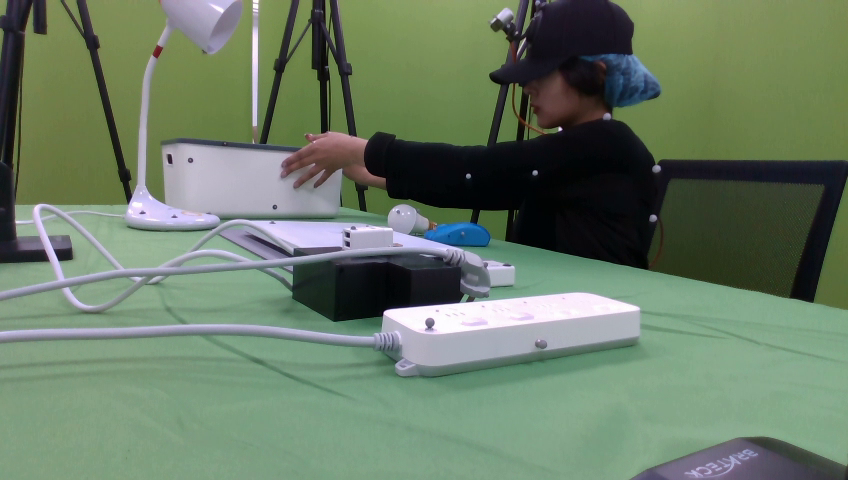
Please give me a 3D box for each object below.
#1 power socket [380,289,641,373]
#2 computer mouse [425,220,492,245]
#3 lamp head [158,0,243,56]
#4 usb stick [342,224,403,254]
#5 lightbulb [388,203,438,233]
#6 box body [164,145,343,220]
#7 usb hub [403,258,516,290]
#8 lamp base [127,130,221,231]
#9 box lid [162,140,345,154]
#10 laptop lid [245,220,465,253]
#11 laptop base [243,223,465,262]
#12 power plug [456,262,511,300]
[{"bbox_3d":[0.072,0.064,0.461,0.228,0.032,0.072,-2,8,-30],"label":"power socket"},{"bbox_3d":[0.060,-0.013,1.060,0.117,0.041,0.062,-2,10,-6],"label":"computer mouse"},{"bbox_3d":[-0.399,-0.397,1.057,0.123,0.112,0.112,27,5,-7],"label":"lamp head"},{"bbox_3d":[-0.047,-0.001,0.567,0.059,0.027,0.021,0,5,-32],"label":"usb stick"},{"bbox_3d":[-0.017,-0.035,1.162,0.108,0.059,0.059,16,0,-27],"label":"lightbulb"},{"bbox_3d":[-0.398,-0.138,1.413,0.366,0.160,0.253,-2,8,-32],"label":"box body"},{"bbox_3d":[0.042,0.038,0.690,0.126,0.025,0.049,-2,9,-30],"label":"usb hub"},{"bbox_3d":[-0.469,-0.112,1.108,0.179,0.180,0.160,0,7,3],"label":"lamp base"},{"bbox_3d":[-0.397,-0.212,1.403,0.373,0.015,0.262,-2,7,-32],"label":"box lid"},{"bbox_3d":[-0.124,-0.009,0.945,0.243,0.013,0.355,1,7,-29],"label":"laptop lid"},{"bbox_3d":[-0.127,0.003,0.946,0.237,0.023,0.352,2,6,-31],"label":"laptop base"},{"bbox_3d":[0.052,0.051,0.543,0.035,0.052,0.072,6,38,-20],"label":"power plug"}]
